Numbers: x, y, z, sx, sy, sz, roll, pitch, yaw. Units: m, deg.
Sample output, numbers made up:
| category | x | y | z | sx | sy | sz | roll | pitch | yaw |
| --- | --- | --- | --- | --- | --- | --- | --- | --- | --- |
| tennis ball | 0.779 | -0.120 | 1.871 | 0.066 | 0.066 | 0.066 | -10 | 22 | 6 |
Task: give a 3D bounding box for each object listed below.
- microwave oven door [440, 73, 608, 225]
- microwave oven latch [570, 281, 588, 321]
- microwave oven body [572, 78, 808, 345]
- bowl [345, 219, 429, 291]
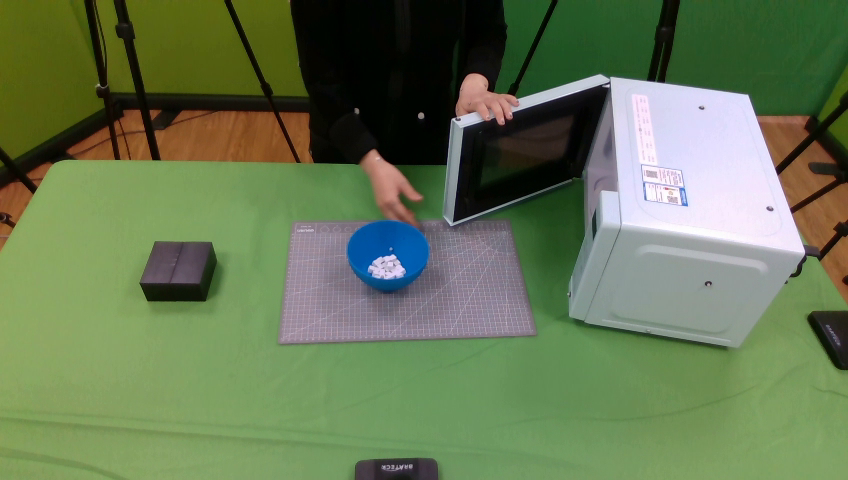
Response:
| category | x | y | z | sx | sy | sz | roll | pitch | yaw |
| --- | --- | --- | --- | --- | --- | --- | --- | --- | --- |
| microwave oven door | 0.200 | -0.183 | 1.213 | 0.356 | 0.245 | 0.039 | -21 | 51 | -22 |
| microwave oven latch | 0.275 | 0.105 | 1.083 | 0.030 | 0.029 | 0.079 | 9 | 45 | 6 |
| microwave oven body | 0.455 | -0.063 | 1.125 | 0.326 | 0.261 | 0.439 | 8 | 45 | 5 |
| bowl | -0.068 | 0.041 | 1.111 | 0.151 | 0.077 | 0.150 | 2 | 46 | -2 |
